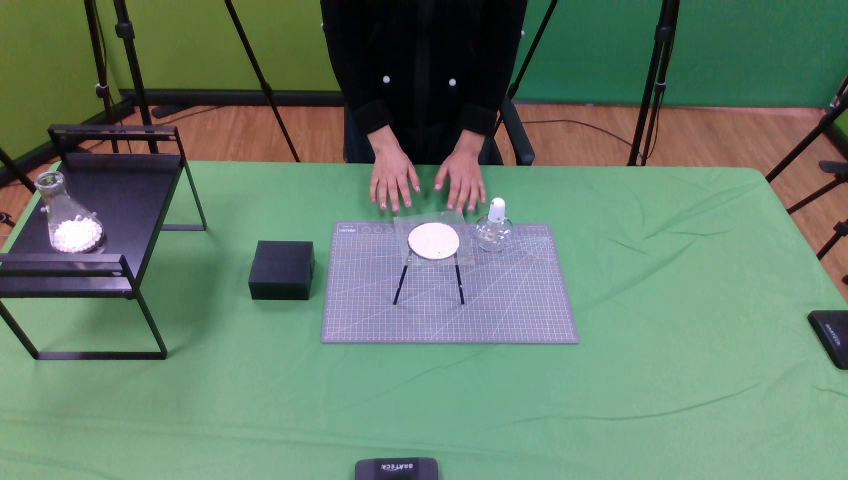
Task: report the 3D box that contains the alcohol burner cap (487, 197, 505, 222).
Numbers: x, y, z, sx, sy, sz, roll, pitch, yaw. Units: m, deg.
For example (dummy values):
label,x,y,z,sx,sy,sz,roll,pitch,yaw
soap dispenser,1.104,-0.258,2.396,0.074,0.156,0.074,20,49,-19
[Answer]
label,x,y,z,sx,sy,sz,roll,pitch,yaw
alcohol burner cap,0.139,-0.060,1.149,0.034,0.048,0.033,1,43,0

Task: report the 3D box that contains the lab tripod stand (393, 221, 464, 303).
label,x,y,z,sx,sy,sz,roll,pitch,yaw
lab tripod stand,0.009,0.045,1.075,0.148,0.132,0.147,2,48,-2

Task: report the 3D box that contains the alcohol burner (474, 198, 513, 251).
label,x,y,z,sx,sy,sz,roll,pitch,yaw
alcohol burner,0.137,-0.035,1.175,0.078,0.120,0.077,1,47,-1

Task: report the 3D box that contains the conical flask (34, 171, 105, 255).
label,x,y,z,sx,sy,sz,roll,pitch,yaw
conical flask,-0.522,-0.043,0.879,0.075,0.122,0.075,2,46,-2

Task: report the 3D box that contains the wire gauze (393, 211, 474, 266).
label,x,y,z,sx,sy,sz,roll,pitch,yaw
wire gauze,0.015,-0.003,1.028,0.125,0.011,0.120,-4,47,-7
